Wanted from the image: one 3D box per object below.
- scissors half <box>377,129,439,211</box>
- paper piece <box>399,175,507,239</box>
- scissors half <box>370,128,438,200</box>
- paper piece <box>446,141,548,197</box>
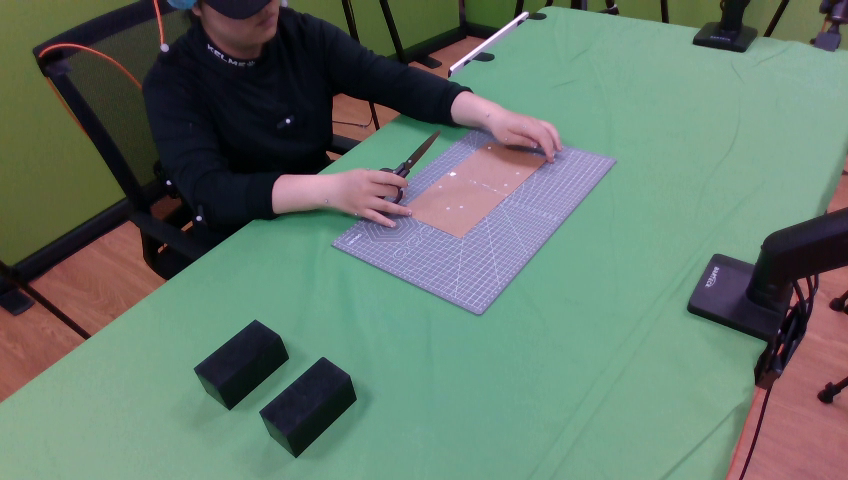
[{"bbox_3d":[-0.026,-0.116,1.014,0.013,0.175,0.039,10,34,-48],"label":"scissors half"},{"bbox_3d":[0.050,-0.063,1.043,0.134,0.004,0.136,25,50,32],"label":"paper piece"},{"bbox_3d":[-0.035,-0.130,1.024,0.013,0.174,0.040,4,52,-52],"label":"scissors half"},{"bbox_3d":[0.135,-0.136,1.117,0.135,0.009,0.138,28,51,30],"label":"paper piece"}]
